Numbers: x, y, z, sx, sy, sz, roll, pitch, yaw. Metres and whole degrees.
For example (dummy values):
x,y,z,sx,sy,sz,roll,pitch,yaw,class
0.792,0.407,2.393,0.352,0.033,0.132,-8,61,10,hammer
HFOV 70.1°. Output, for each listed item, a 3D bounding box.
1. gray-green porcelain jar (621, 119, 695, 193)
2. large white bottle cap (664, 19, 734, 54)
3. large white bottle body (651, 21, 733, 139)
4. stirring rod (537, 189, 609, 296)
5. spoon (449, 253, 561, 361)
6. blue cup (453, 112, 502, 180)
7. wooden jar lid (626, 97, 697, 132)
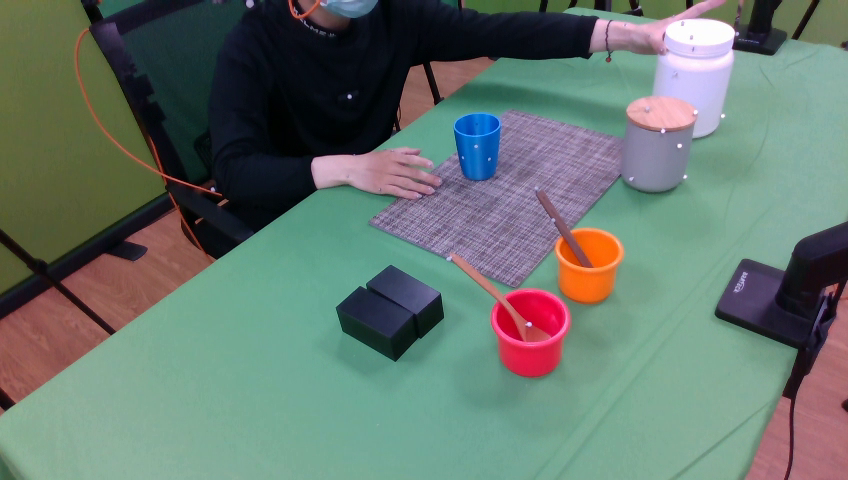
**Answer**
x,y,z,sx,sy,sz,roll,pitch,yaw,class
0.389,-0.152,1.016,0.106,0.127,0.105,-4,40,4,gray-green porcelain jar
0.485,-0.361,1.068,0.115,0.018,0.114,-4,41,4,large white bottle cap
0.493,-0.297,1.122,0.130,0.185,0.130,-4,41,4,large white bottle body
0.210,0.003,0.855,0.014,0.006,0.176,-32,89,-31,stirring rod
0.103,0.083,0.770,0.194,0.021,0.042,47,52,-7,spoon
0.097,-0.166,1.088,0.092,0.100,0.092,-3,40,3,blue cup
0.382,-0.198,0.976,0.108,0.021,0.108,-3,40,3,wooden jar lid
